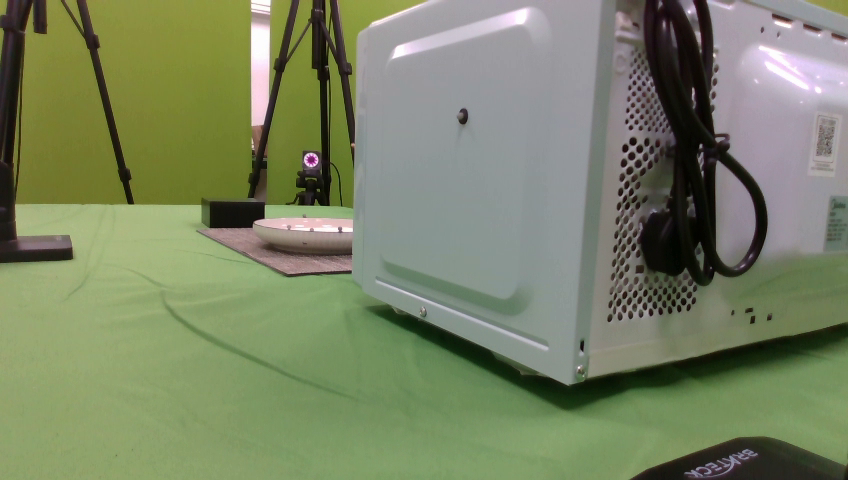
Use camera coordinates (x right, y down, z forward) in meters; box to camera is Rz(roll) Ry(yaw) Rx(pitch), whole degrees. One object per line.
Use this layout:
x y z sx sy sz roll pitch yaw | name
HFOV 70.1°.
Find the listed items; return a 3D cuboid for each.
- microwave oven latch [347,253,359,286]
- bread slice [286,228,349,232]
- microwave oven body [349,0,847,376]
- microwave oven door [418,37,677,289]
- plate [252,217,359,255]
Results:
-0.034 0.028 0.581 0.079 0.029 0.030 -1 7 -32 | microwave oven latch
-0.153 -0.005 0.921 0.132 0.019 0.104 0 7 -30 | bread slice
0.199 -0.053 0.540 0.444 0.260 0.324 -1 7 -32 | microwave oven body
0.159 -0.079 0.684 0.358 0.243 0.039 -2 9 -32 | microwave oven door
-0.155 -0.007 0.924 0.209 0.038 0.209 3 7 0 | plate
